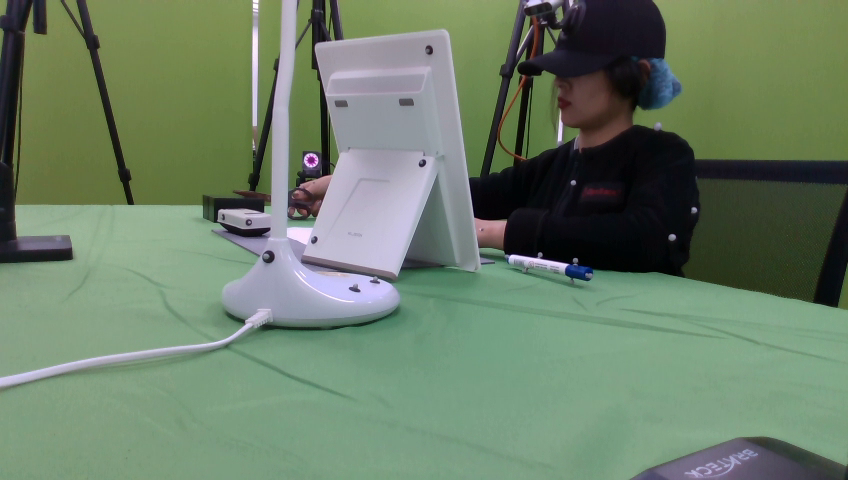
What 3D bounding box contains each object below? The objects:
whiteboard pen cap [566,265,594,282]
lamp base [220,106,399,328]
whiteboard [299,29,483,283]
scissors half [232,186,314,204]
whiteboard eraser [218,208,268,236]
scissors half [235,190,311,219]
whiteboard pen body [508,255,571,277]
[{"bbox_3d":[0.185,0.040,0.722,0.018,0.018,0.033,-3,7,-33],"label":"whiteboard pen cap"},{"bbox_3d":[-0.101,-0.023,0.531,0.160,0.180,0.179,4,10,10],"label":"lamp base"},{"bbox_3d":[-0.074,-0.082,0.742,0.216,0.305,0.144,9,29,38],"label":"whiteboard"},{"bbox_3d":[-0.324,-0.098,1.311,0.176,0.040,0.012,-1,24,-26],"label":"scissors half"},{"bbox_3d":[-0.309,-0.031,1.044,0.056,0.042,0.112,-2,9,-40],"label":"whiteboard eraser"},{"bbox_3d":[-0.330,-0.080,1.317,0.176,0.040,0.013,18,9,-31],"label":"scissors half"},{"bbox_3d":[0.155,0.034,0.772,0.017,0.017,0.140,-2,7,-31],"label":"whiteboard pen body"}]
